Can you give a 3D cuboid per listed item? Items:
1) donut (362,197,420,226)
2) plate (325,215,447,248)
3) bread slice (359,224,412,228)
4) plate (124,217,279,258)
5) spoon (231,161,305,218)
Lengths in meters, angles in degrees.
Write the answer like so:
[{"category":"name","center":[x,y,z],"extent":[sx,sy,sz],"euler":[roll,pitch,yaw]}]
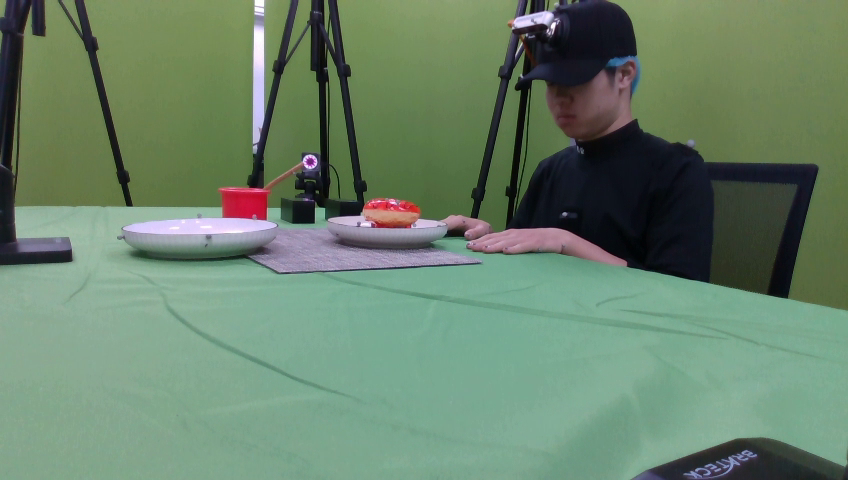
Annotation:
[{"category":"donut","center":[-0.056,-0.048,1.024],"extent":[0.099,0.048,0.099],"euler":[4,8,0]},{"category":"plate","center":[-0.065,-0.015,1.034],"extent":[0.209,0.038,0.209],"euler":[3,8,0]},{"category":"bread slice","center":[-0.061,-0.013,1.034],"extent":[0.105,0.019,0.131],"euler":[0,9,-19]},{"category":"plate","center":[-0.315,-0.004,0.870],"extent":[0.208,0.039,0.207],"euler":[1,8,0]},{"category":"spoon","center":[-0.314,-0.096,1.192],"extent":[0.194,0.022,0.041],"euler":[-42,13,-5]}]
